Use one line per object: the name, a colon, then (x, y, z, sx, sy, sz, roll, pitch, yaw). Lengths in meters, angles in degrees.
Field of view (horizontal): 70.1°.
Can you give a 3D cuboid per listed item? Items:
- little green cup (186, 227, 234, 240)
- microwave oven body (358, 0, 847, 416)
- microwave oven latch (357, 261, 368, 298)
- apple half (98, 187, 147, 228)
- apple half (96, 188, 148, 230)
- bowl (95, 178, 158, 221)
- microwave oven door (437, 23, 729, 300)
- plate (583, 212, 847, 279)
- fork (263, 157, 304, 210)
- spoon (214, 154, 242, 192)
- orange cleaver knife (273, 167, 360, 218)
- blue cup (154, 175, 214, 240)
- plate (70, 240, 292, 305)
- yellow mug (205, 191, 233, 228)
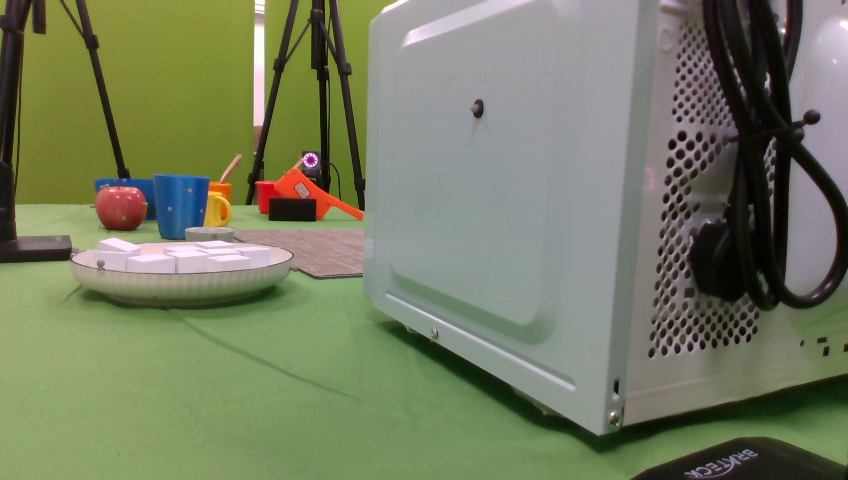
little green cup: (-0.285, 0.005, 0.805, 0.061, 0.038, 0.061, 2, 8, 0)
microwave oven body: (0.211, -0.047, 0.474, 0.444, 0.260, 0.324, -1, 7, -28)
microwave oven latch: (-0.019, 0.033, 0.530, 0.079, 0.029, 0.030, -1, 7, -26)
apple half: (-0.534, -0.059, 1.071, 0.082, 0.081, 0.032, -1, 11, -25)
apple half: (-0.517, -0.052, 1.036, 0.081, 0.074, 0.053, 2, 10, -26)
bowl: (-0.576, -0.081, 1.217, 0.151, 0.077, 0.151, 3, 8, 0)
microwave oven door: (0.181, -0.072, 0.621, 0.358, 0.243, 0.039, -2, 8, -29)
plate: (0.239, 0.002, 0.510, 0.209, 0.038, 0.209, 2, 7, 0)
fork: (-0.345, -0.143, 1.505, 0.028, 0.019, 0.207, -3, 46, 28)
spoon: (-0.439, -0.124, 1.318, 0.041, 0.193, 0.022, 5, -37, 16)
orange cleaver knife: (-0.238, -0.091, 1.381, 0.212, 0.077, 0.012, 31, 0, -19)
blue cup: (-0.390, -0.053, 0.978, 0.093, 0.100, 0.092, 3, 6, 0)
plate: (-0.242, 0.031, 0.618, 0.208, 0.039, 0.207, 2, 8, 0)
yellow mug: (-0.415, -0.057, 1.132, 0.130, 0.064, 0.100, 6, 8, 16)
